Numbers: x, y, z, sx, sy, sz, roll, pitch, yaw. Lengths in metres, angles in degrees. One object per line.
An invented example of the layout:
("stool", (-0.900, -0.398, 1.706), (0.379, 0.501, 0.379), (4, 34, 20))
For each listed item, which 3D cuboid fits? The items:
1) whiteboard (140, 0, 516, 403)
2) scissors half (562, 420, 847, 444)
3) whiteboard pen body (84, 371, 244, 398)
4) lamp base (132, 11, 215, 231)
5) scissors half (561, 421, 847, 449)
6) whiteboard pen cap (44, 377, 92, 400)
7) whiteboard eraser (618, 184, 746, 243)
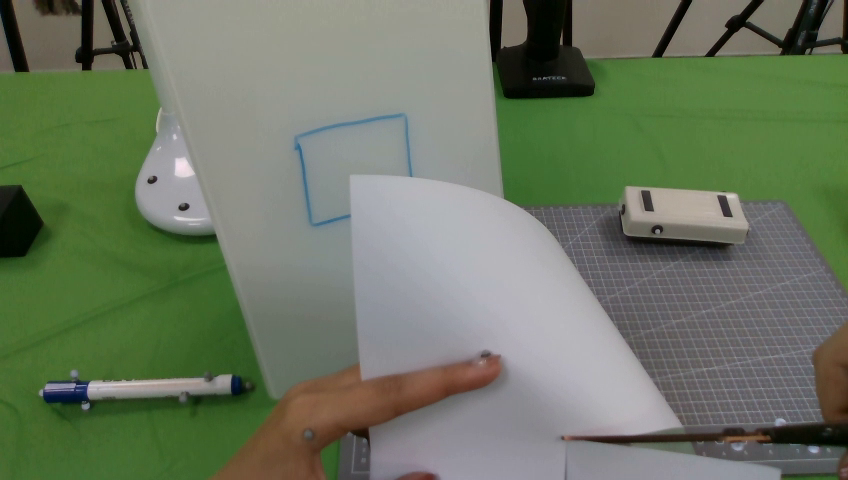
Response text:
("whiteboard", (-0.063, -0.062, 0.494), (0.217, 0.308, 0.142), (-16, 27, -14))
("scissors half", (0.150, 0.088, 0.272), (0.175, 0.040, 0.012), (-1, 72, -1))
("whiteboard pen body", (-0.214, 0.114, 0.475), (0.141, 0.017, 0.017), (-2, 44, -6))
("lamp base", (-0.238, -0.126, 0.609), (0.177, 0.182, 0.160), (29, 51, 30))
("scissors half", (0.146, 0.083, 0.252), (0.175, 0.040, 0.012), (-7, 76, 18))
("whiteboard pen cap", (-0.274, 0.115, 0.470), (0.033, 0.018, 0.018), (0, 44, -8))
("whiteboard eraser", (0.250, -0.024, 0.596), (0.112, 0.042, 0.055), (4, 43, 4))
